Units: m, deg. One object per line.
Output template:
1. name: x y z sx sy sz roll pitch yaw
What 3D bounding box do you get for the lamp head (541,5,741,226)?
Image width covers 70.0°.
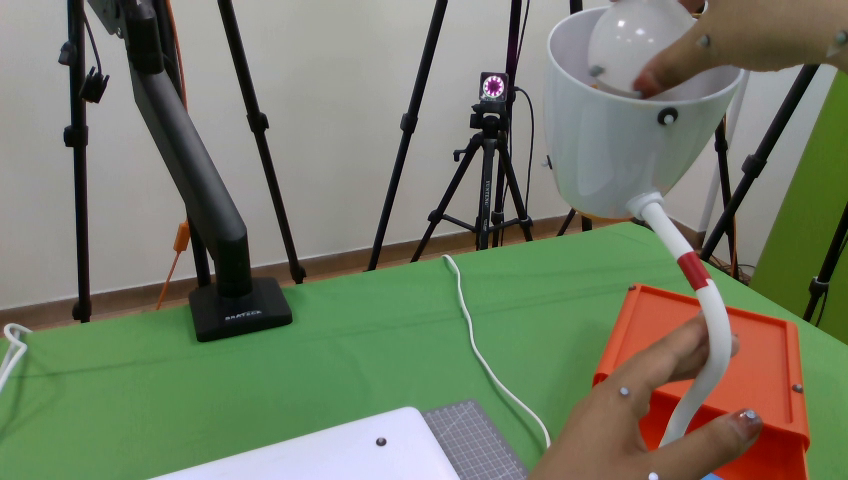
1. lamp head: 0.127 -0.069 0.388 0.112 0.124 0.111 -2 42 2

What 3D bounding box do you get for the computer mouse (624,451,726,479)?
1. computer mouse: 0.238 0.232 0.550 0.117 0.041 0.062 13 28 13

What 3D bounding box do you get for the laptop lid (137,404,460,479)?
1. laptop lid: -0.123 0.252 0.482 0.358 0.013 0.239 -9 31 -22

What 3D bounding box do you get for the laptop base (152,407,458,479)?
1. laptop base: -0.124 0.262 0.490 0.355 0.023 0.233 -10 33 -23

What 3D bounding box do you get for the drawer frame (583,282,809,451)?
1. drawer frame: 0.305 0.147 0.686 0.200 0.083 0.213 13 28 21

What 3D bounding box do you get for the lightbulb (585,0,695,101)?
1. lightbulb: 0.124 -0.094 0.366 0.059 0.108 0.059 -1 48 2

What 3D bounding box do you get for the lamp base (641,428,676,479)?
1. lamp base: 0.155 0.229 0.397 0.161 0.181 0.177 0 24 -9

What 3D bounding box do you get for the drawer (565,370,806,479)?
1. drawer: 0.258 0.193 0.597 0.193 0.074 0.211 12 28 21
